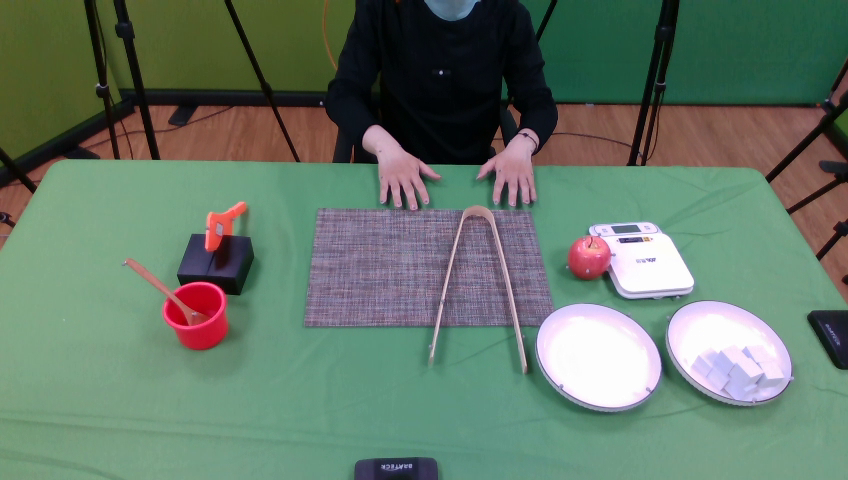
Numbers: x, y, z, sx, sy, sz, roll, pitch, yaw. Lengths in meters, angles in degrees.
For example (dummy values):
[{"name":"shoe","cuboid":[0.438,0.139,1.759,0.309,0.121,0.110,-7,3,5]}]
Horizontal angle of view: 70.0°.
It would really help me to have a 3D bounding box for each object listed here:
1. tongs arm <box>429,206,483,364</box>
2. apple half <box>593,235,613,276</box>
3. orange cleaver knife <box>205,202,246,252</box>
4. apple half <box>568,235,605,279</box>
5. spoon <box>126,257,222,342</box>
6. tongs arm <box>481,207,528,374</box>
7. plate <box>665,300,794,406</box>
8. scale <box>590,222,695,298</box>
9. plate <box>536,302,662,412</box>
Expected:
[{"name":"tongs arm","cuboid":[0.065,0.069,1.124,0.051,0.026,0.382,8,45,5]},{"name":"apple half","cuboid":[0.340,0.029,1.155,0.033,0.082,0.080,-10,47,-8]},{"name":"orange cleaver knife","cuboid":[-0.374,-0.029,1.149,0.012,0.077,0.211,3,13,0]},{"name":"apple half","cuboid":[0.302,0.035,1.148,0.053,0.075,0.080,-9,51,-8]},{"name":"spoon","cuboid":[-0.408,0.096,0.990,0.194,0.021,0.041,50,53,-18]},{"name":"tongs arm","cuboid":[0.149,0.077,1.123,0.028,0.028,0.385,-5,46,-2]},{"name":"plate","cuboid":[0.513,0.194,1.034,0.208,0.039,0.206,2,46,-2]},{"name":"scale","cuboid":[0.424,0.031,1.189,0.149,0.032,0.199,-3,46,-7]},{"name":"plate","cuboid":[0.288,0.197,1.016,0.209,0.038,0.208,2,46,-2]}]
